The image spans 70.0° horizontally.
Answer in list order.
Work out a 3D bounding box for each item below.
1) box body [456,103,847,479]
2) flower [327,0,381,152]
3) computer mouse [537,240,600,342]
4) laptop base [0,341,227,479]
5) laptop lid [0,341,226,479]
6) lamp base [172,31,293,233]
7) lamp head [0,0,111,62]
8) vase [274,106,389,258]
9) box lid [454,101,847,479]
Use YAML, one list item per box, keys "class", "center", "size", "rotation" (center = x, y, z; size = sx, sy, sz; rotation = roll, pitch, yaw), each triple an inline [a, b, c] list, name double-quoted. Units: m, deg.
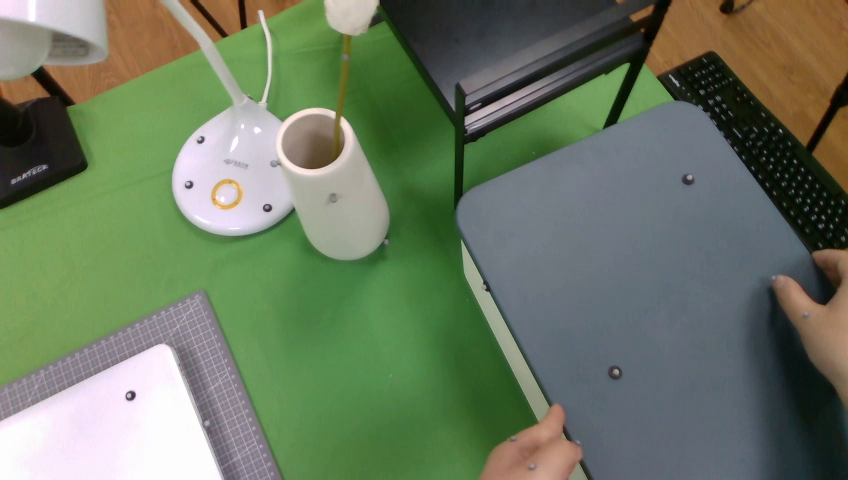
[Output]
- class: "box body"
  center: [0.214, 0.091, 0.576]
  size: [0.254, 0.161, 0.361]
  rotation: [-25, 71, -7]
- class: "flower"
  center: [-0.078, -0.092, 0.544]
  size: [0.038, 0.364, 0.043]
  rotation: [-12, 59, -21]
- class: "computer mouse"
  center: [0.156, 0.052, 0.653]
  size: [0.062, 0.041, 0.116]
  rotation: [6, 63, 8]
- class: "laptop base"
  center: [-0.374, 0.279, 0.597]
  size: [0.354, 0.023, 0.234]
  rotation: [-27, 75, -8]
- class: "laptop lid"
  center: [-0.373, 0.278, 0.586]
  size: [0.357, 0.013, 0.240]
  rotation: [-25, 73, -7]
- class: "lamp base"
  center: [-0.222, -0.122, 0.657]
  size: [0.160, 0.181, 0.178]
  rotation: [5, 67, 4]
- class: "lamp head"
  center: [-0.245, -0.175, 0.358]
  size: [0.112, 0.112, 0.122]
  rotation: [2, 87, 3]
- class: "vase"
  center: [-0.093, -0.054, 0.618]
  size: [0.098, 0.201, 0.097]
  rotation: [-1, 68, 3]
- class: "box lid"
  center: [0.210, 0.062, 0.505]
  size: [0.263, 0.015, 0.368]
  rotation: [-24, 70, -7]
